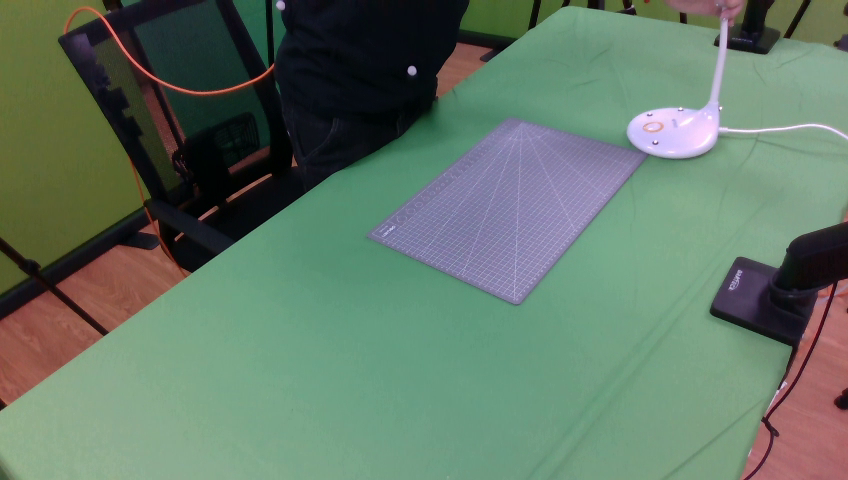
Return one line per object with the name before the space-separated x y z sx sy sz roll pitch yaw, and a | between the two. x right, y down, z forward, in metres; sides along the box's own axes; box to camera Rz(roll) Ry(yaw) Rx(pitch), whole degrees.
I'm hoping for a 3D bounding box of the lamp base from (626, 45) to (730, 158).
lamp base | 0.468 -0.262 1.085 0.179 0.181 0.159 -4 41 0
